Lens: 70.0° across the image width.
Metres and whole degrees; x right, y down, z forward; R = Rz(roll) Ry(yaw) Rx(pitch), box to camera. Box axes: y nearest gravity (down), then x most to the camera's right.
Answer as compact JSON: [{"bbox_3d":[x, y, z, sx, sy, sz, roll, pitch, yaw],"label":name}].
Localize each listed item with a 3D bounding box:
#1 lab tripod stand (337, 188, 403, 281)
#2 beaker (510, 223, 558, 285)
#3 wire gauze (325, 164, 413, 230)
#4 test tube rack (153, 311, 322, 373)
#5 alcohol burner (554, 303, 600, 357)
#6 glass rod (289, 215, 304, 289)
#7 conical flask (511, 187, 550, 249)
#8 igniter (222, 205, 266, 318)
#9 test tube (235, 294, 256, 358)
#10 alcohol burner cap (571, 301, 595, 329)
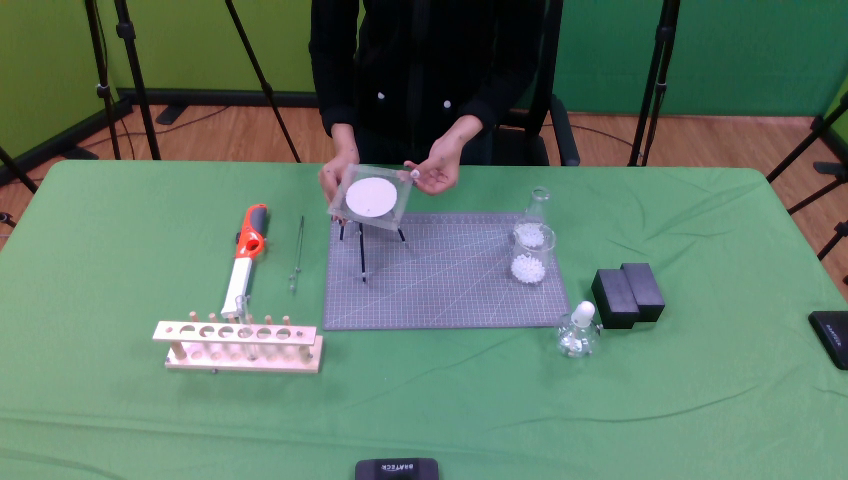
[{"bbox_3d":[-0.106,-0.022,1.126,0.148,0.132,0.147,1,44,0],"label":"lab tripod stand"},{"bbox_3d":[0.199,0.028,1.131,0.083,0.101,0.074,26,49,21],"label":"beaker"},{"bbox_3d":[-0.091,-0.077,1.018,0.125,0.011,0.121,12,55,9],"label":"wire gauze"},{"bbox_3d":[-0.293,0.160,0.977,0.242,0.085,0.066,3,46,-2],"label":"test tube rack"},{"bbox_3d":[0.260,0.143,1.018,0.078,0.119,0.077,3,45,-3],"label":"alcohol burner"},{"bbox_3d":[-0.246,0.019,1.171,0.008,0.008,0.198,1,43,-3],"label":"glass rod"},{"bbox_3d":[0.217,-0.048,1.190,0.075,0.122,0.075,2,46,-2],"label":"conical flask"},{"bbox_3d":[-0.337,0.030,1.140,0.057,0.025,0.274,-6,46,3],"label":"igniter"},{"bbox_3d":[-0.274,0.136,0.933,0.017,0.151,0.017,4,45,-4],"label":"test tube"},{"bbox_3d":[0.262,0.120,0.991,0.034,0.048,0.033,2,52,-2],"label":"alcohol burner cap"}]
